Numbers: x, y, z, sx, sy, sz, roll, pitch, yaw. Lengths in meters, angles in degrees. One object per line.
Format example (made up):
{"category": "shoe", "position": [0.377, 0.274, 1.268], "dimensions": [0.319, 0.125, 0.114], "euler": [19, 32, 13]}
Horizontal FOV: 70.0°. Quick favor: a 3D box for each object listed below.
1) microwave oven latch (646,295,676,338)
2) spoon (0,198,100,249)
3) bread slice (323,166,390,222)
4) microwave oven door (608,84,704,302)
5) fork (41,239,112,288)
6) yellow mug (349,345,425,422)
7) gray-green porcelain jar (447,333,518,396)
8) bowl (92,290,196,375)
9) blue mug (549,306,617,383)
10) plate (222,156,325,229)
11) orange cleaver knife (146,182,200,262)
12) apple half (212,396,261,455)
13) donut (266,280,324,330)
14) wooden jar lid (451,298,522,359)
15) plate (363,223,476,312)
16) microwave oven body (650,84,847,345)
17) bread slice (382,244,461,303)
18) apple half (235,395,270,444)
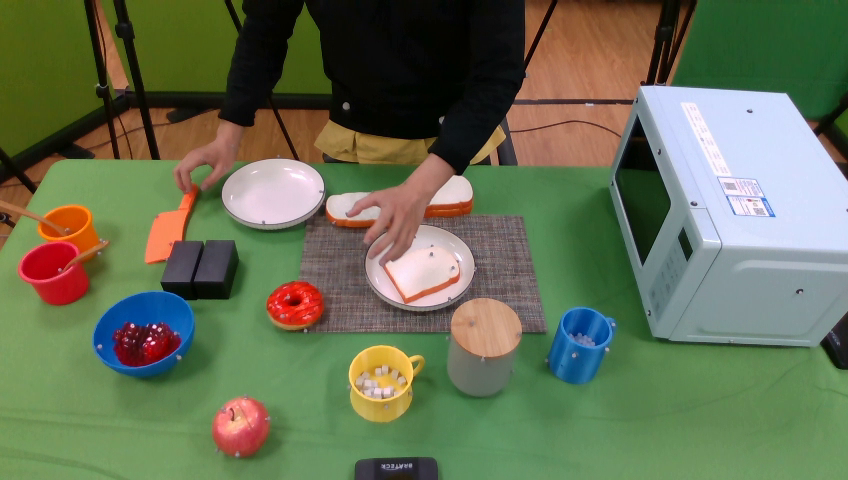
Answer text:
{"category": "microwave oven latch", "position": [0.413, 0.133, 1.061], "dimensions": [0.030, 0.029, 0.078], "euler": [4, 46, 1]}
{"category": "spoon", "position": [-0.684, -0.035, 1.092], "dimensions": [0.021, 0.195, 0.041], "euler": [-31, 42, 28]}
{"category": "bread slice", "position": [-0.140, -0.092, 1.224], "dimensions": [0.134, 0.018, 0.106], "euler": [-19, 51, 6]}
{"category": "microwave oven door", "position": [0.424, -0.096, 1.138], "dimensions": [0.039, 0.245, 0.353], "euler": [2, 47, -1]}
{"category": "fork", "position": [-0.591, 0.040, 1.028], "dimensions": [0.207, 0.019, 0.028], "euler": [-27, 37, 29]}
{"category": "yellow mug", "position": [-0.054, 0.217, 0.954], "dimensions": [0.131, 0.064, 0.099], "euler": [-24, 52, -25]}
{"category": "gray-green porcelain jar", "position": [0.091, 0.178, 0.960], "dimensions": [0.106, 0.127, 0.105], "euler": [2, 46, -2]}
{"category": "bowl", "position": [-0.436, 0.161, 0.971], "dimensions": [0.151, 0.077, 0.150], "euler": [2, 46, -2]}
{"category": "blue mug", "position": [0.269, 0.167, 0.997], "dimensions": [0.116, 0.106, 0.082], "euler": [-19, 50, -21]}
{"category": "plate", "position": [-0.308, -0.095, 1.251], "dimensions": [0.209, 0.038, 0.208], "euler": [2, 46, -2]}
{"category": "orange cleaver knife", "position": [-0.494, -0.039, 1.198], "dimensions": [0.077, 0.012, 0.210], "euler": [-3, 48, 2]}
{"category": "apple half", "position": [-0.276, 0.276, 0.877], "dimensions": [0.053, 0.075, 0.080], "euler": [-29, 58, -20]}
{"category": "donut", "position": [-0.223, 0.113, 1.051], "dimensions": [0.099, 0.048, 0.098], "euler": [2, 45, -2]}
{"category": "wooden jar lid", "position": [0.093, 0.135, 0.914], "dimensions": [0.108, 0.021, 0.107], "euler": [2, 48, -3]}
{"category": "plate", "position": [-0.009, 0.054, 1.126], "dimensions": [0.208, 0.039, 0.206], "euler": [2, 46, -2]}
{"category": "microwave oven body", "position": [0.569, -0.054, 1.116], "dimensions": [0.326, 0.261, 0.439], "euler": [2, 46, -1]}
{"category": "bread slice", "position": [0.000, 0.055, 1.130], "dimensions": [0.131, 0.019, 0.104], "euler": [-21, 52, -19]}
{"category": "apple half", "position": [-0.245, 0.260, 0.893], "dimensions": [0.033, 0.082, 0.081], "euler": [-29, 55, -22]}
